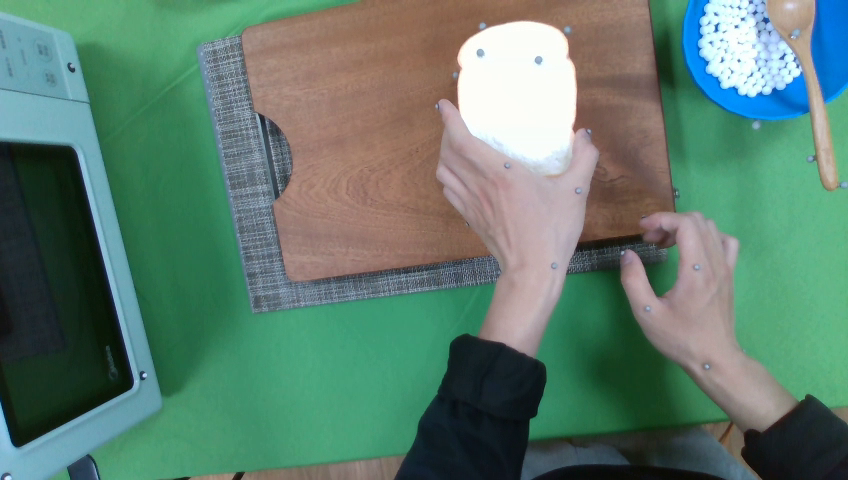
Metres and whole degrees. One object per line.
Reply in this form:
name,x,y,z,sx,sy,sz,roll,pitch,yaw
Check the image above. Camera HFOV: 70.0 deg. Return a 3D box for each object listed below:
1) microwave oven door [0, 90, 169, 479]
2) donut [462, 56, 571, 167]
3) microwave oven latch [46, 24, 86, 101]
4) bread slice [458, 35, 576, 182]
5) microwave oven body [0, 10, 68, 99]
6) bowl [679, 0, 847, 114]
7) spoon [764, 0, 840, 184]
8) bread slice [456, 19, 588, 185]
microwave oven door,-0.370,0.036,0.577,0.039,0.244,0.356,-11,95,12
donut,0.083,-0.115,0.550,0.099,0.048,0.099,1,99,8
microwave oven latch,-0.395,-0.190,0.656,0.030,0.029,0.079,-10,96,11
bread slice,0.083,-0.126,0.580,0.105,0.019,0.132,-9,97,10
microwave oven body,-0.518,0.022,0.606,0.325,0.260,0.442,-11,96,11
bowl,0.297,-0.184,0.533,0.151,0.077,0.151,1,98,10
spoon,0.318,-0.140,0.503,0.041,0.022,0.192,-5,76,3
bread slice,0.077,-0.117,0.518,0.107,0.018,0.134,-8,92,14
